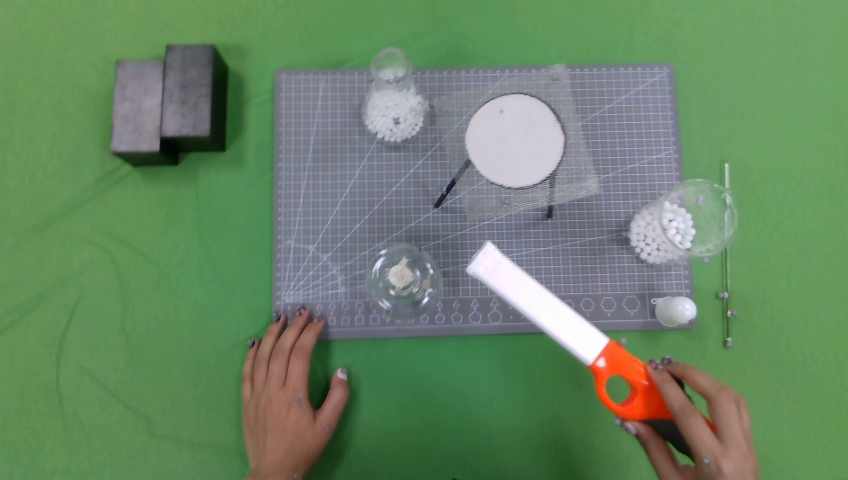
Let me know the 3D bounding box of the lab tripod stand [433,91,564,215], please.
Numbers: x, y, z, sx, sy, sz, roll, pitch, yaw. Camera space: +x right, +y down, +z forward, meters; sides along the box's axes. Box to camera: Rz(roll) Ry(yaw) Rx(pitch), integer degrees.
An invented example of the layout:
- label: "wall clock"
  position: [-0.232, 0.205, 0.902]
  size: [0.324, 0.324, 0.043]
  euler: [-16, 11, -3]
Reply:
- label: "lab tripod stand"
  position: [0.077, -0.077, 0.602]
  size: [0.148, 0.132, 0.148]
  euler: [0, 83, -1]

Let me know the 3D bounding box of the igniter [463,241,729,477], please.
- label: "igniter"
  position: [0.146, 0.100, 0.500]
  size: [0.277, 0.025, 0.057]
  euler: [39, 86, -3]

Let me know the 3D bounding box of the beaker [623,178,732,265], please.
- label: "beaker"
  position: [0.254, -0.016, 0.615]
  size: [0.084, 0.100, 0.074]
  euler: [-38, 84, -7]

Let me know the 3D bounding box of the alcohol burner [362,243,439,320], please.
- label: "alcohol burner"
  position: [-0.024, 0.038, 0.593]
  size: [0.078, 0.119, 0.077]
  euler: [0, 79, 1]

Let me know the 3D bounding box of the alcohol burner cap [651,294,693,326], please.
- label: "alcohol burner cap"
  position: [0.261, 0.072, 0.631]
  size: [0.034, 0.048, 0.033]
  euler: [0, 81, -1]

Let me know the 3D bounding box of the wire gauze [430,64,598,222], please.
- label: "wire gauze"
  position: [0.079, -0.086, 0.535]
  size: [0.125, 0.011, 0.121]
  euler: [-14, 82, -3]

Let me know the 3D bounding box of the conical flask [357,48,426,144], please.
- label: "conical flask"
  position: [-0.035, -0.150, 0.616]
  size: [0.075, 0.122, 0.075]
  euler: [0, 81, -1]

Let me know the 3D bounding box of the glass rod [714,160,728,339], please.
- label: "glass rod"
  position: [0.325, 0.008, 0.662]
  size: [0.008, 0.008, 0.199]
  euler: [2, 81, -1]
